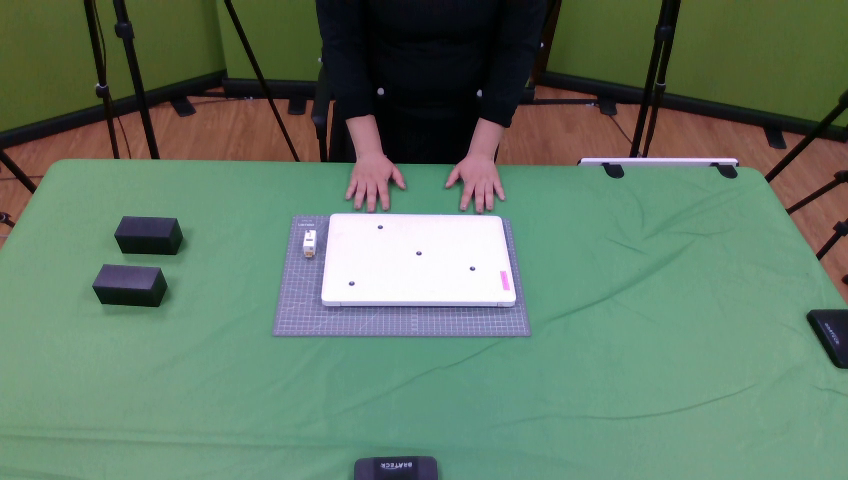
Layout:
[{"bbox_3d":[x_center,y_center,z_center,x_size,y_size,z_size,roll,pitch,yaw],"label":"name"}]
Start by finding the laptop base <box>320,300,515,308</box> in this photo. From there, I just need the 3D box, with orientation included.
[{"bbox_3d":[-0.013,0.039,1.160,0.355,0.023,0.234,0,43,-4],"label":"laptop base"}]

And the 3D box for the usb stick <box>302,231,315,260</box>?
[{"bbox_3d":[-0.223,0.011,1.163,0.021,0.027,0.059,3,48,-6],"label":"usb stick"}]

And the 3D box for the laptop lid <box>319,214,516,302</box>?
[{"bbox_3d":[-0.013,0.029,1.154,0.357,0.013,0.240,2,43,-3],"label":"laptop lid"}]
